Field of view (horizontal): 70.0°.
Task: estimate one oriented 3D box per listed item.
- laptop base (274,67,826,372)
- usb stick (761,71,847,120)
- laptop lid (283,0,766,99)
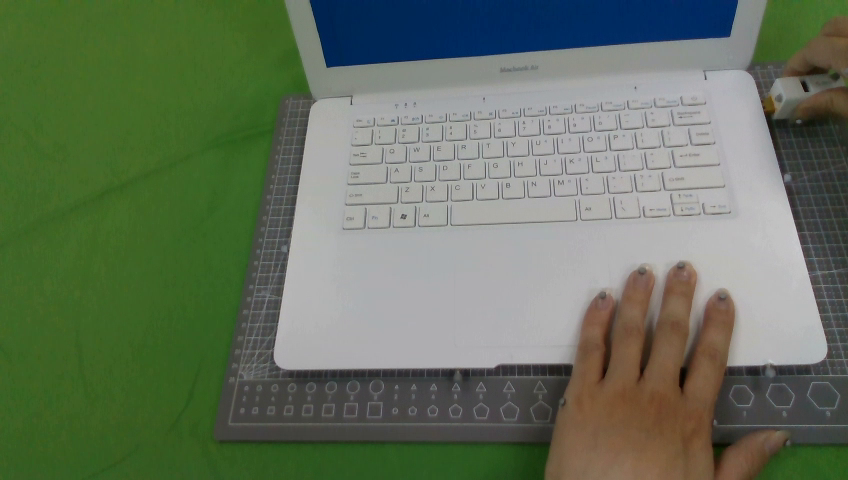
[{"bbox_3d":[0.075,-0.020,0.443,0.354,0.023,0.233,-2,65,7],"label":"laptop base"},{"bbox_3d":[0.273,-0.105,0.445,0.059,0.027,0.021,-8,61,5],"label":"usb stick"},{"bbox_3d":[0.064,-0.208,0.417,0.356,0.244,0.013,-3,44,8],"label":"laptop lid"}]
